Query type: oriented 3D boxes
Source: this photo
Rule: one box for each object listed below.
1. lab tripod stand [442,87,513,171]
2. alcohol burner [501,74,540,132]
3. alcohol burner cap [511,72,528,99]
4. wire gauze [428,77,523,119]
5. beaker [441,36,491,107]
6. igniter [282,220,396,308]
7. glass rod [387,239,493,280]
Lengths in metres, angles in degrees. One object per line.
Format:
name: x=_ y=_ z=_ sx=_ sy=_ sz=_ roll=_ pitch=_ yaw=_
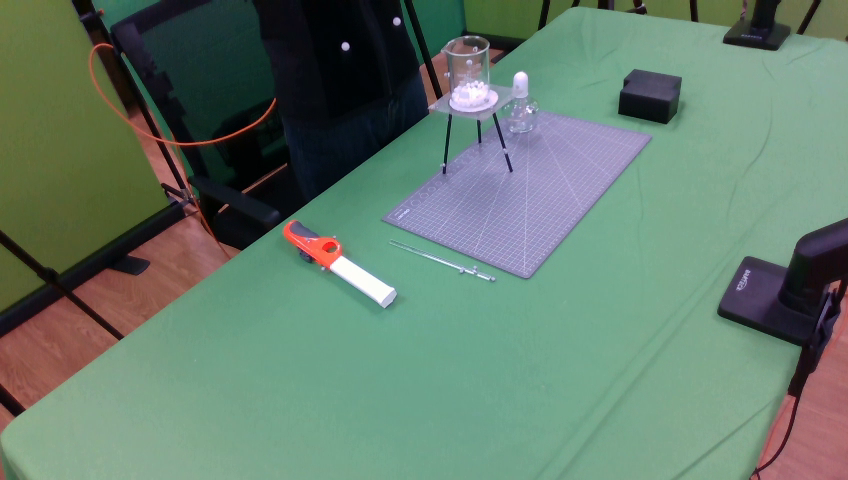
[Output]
lab tripod stand: x=0.097 y=-0.200 z=1.108 sx=0.148 sy=0.132 sz=0.147 roll=-4 pitch=40 yaw=4
alcohol burner: x=0.191 y=-0.275 z=1.194 sx=0.078 sy=0.119 sz=0.077 roll=-4 pitch=42 yaw=4
alcohol burner cap: x=0.185 y=-0.302 z=1.171 sx=0.034 sy=0.048 sz=0.033 roll=-2 pitch=42 yaw=2
wire gauze: x=0.090 y=-0.249 z=1.063 sx=0.120 sy=0.011 sz=0.125 roll=24 pitch=48 yaw=30
beaker: x=0.074 y=-0.287 z=1.036 sx=0.084 sy=0.101 sz=0.073 roll=-1 pitch=41 yaw=8
igniter: x=-0.146 y=0.032 z=0.966 sx=0.274 sy=0.025 sz=0.057 roll=30 pitch=64 yaw=37
glass rod: x=0.021 y=0.028 z=0.953 sx=0.198 sy=0.008 sz=0.008 roll=19 pitch=48 yaw=29
